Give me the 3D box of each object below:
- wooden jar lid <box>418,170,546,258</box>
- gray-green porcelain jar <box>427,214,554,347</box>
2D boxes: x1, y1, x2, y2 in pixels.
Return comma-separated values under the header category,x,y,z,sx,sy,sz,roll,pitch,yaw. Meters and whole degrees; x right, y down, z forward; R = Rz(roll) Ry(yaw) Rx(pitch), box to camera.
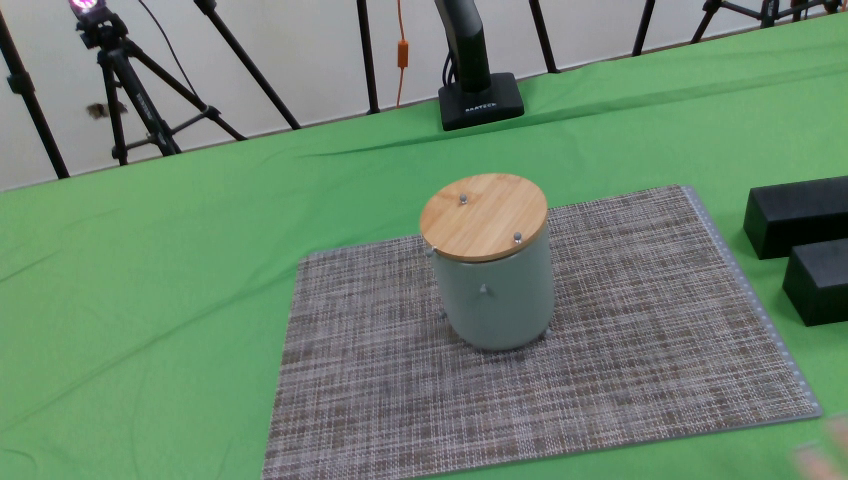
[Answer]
category,x,y,z,sx,sy,sz,roll,pitch,yaw
wooden jar lid,0.049,-0.020,0.512,0.108,0.021,0.107,-9,43,9
gray-green porcelain jar,0.064,0.027,0.554,0.106,0.128,0.105,-9,41,8
